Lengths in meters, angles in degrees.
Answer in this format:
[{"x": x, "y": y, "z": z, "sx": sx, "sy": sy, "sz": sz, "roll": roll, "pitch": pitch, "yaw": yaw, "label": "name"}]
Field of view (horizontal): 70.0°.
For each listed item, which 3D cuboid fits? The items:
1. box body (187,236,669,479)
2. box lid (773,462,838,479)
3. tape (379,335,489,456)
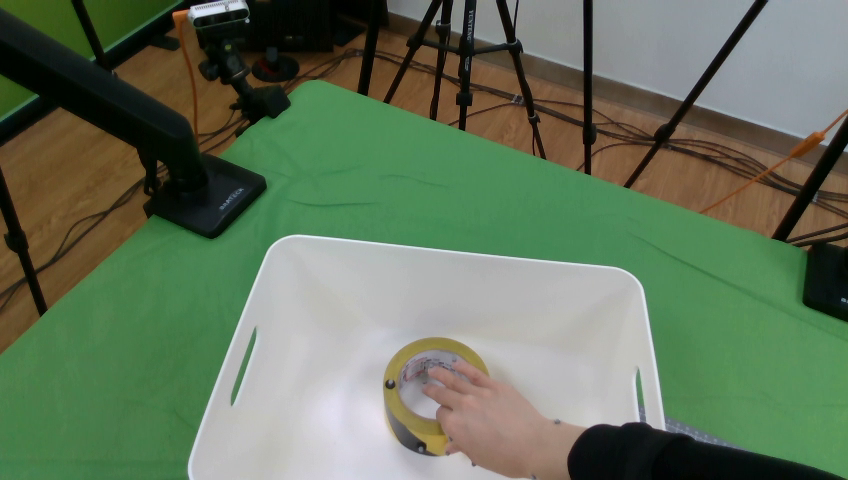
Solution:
[{"x": 0.012, "y": 0.155, "z": 0.572, "sx": 0.364, "sy": 0.162, "sz": 0.252, "roll": 5, "pitch": 50, "yaw": 2, "label": "box body"}, {"x": 0.402, "y": 0.393, "z": 0.491, "sx": 0.263, "sy": 0.015, "sz": 0.368, "roll": -30, "pitch": 58, "yaw": -25, "label": "box lid"}, {"x": 0.010, "y": 0.159, "z": 0.632, "sx": 0.117, "sy": 0.053, "sz": 0.115, "roll": 2, "pitch": 49, "yaw": -2, "label": "tape"}]
